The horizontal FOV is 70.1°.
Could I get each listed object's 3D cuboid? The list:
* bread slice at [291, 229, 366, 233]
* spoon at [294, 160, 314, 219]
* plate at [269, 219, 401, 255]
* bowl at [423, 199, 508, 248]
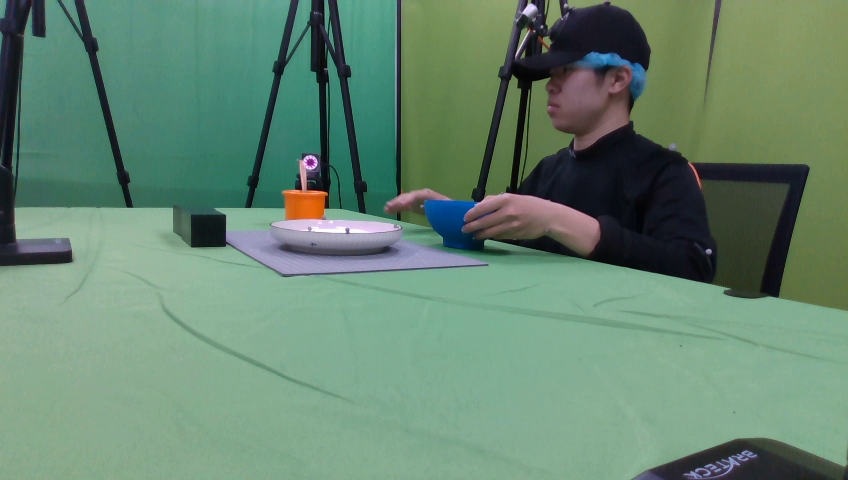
[{"bbox_3d":[-0.143,-0.003,0.953,0.135,0.018,0.106,-1,8,-37],"label":"bread slice"},{"bbox_3d":[-0.253,-0.102,1.270,0.042,0.193,0.021,3,-38,-17],"label":"spoon"},{"bbox_3d":[-0.140,-0.006,0.958,0.209,0.038,0.209,3,7,0],"label":"plate"},{"bbox_3d":[0.070,-0.028,1.064,0.151,0.077,0.151,4,6,0],"label":"bowl"}]
